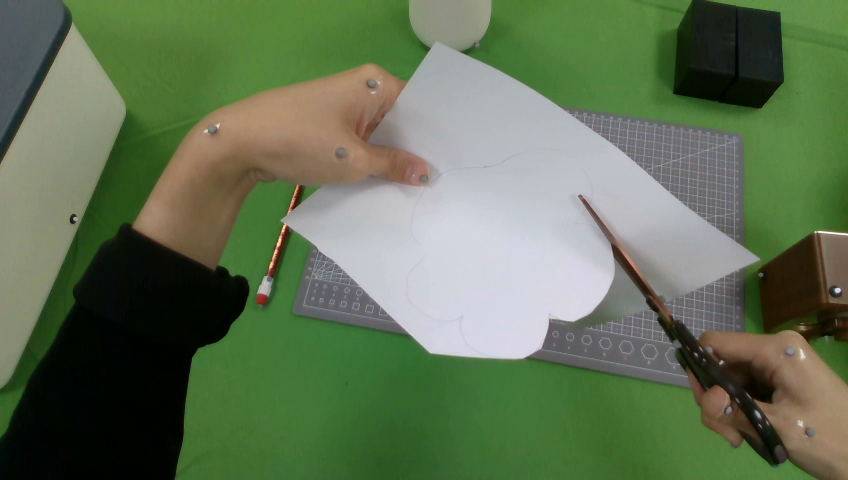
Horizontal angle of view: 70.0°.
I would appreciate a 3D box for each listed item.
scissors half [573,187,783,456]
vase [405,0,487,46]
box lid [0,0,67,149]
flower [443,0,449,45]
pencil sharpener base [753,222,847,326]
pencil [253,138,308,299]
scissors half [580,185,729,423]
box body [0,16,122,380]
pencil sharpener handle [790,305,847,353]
[{"bbox_3d":[0.134,0.041,0.328,0.013,0.040,0.174,-35,79,0],"label":"scissors half"},{"bbox_3d":[0.025,-0.306,0.655,0.098,0.201,0.097,0,67,1],"label":"vase"},{"bbox_3d":[-0.485,-0.087,0.504,0.263,0.015,0.369,10,69,3],"label":"box lid"},{"bbox_3d":[0.021,-0.350,0.583,0.044,0.365,0.038,3,51,5],"label":"flower"},{"bbox_3d":[0.368,0.040,0.573,0.061,0.108,0.076,6,69,2],"label":"pencil sharpener base"},{"bbox_3d":[-0.150,-0.028,0.649,0.012,0.012,0.193,10,68,4],"label":"pencil"},{"bbox_3d":[0.135,0.039,0.350,0.013,0.040,0.176,-35,108,5],"label":"scissors half"},{"bbox_3d":[-0.485,-0.057,0.573,0.254,0.161,0.362,10,69,4],"label":"box body"},{"bbox_3d":[0.359,0.082,0.544,0.036,0.068,0.030,10,68,-11],"label":"pencil sharpener handle"}]
